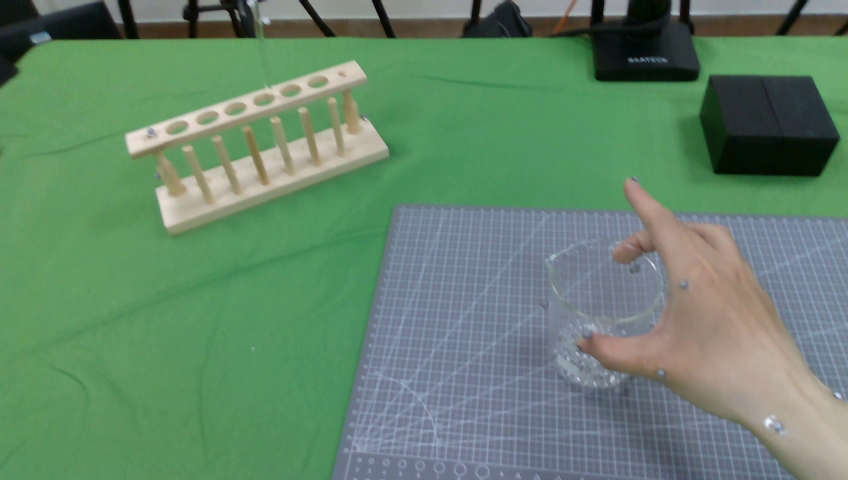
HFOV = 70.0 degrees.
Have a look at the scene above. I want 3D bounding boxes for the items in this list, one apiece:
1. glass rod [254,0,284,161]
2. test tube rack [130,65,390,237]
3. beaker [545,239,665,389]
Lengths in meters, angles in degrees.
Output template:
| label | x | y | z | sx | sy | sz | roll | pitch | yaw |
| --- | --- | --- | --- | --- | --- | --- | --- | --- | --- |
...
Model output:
| label | x | y | z | sx | sy | sz | roll | pitch | yaw |
| --- | --- | --- | --- | --- | --- | --- | --- | --- | --- |
| glass rod | -0.153 | -0.162 | 0.604 | 0.008 | 0.201 | 0.008 | 0 | 41 | 0 |
| test tube rack | -0.164 | -0.096 | 0.634 | 0.242 | 0.086 | 0.066 | -22 | 50 | -13 |
| beaker | 0.127 | 0.058 | 0.453 | 0.083 | 0.101 | 0.074 | 22 | 54 | 24 |
